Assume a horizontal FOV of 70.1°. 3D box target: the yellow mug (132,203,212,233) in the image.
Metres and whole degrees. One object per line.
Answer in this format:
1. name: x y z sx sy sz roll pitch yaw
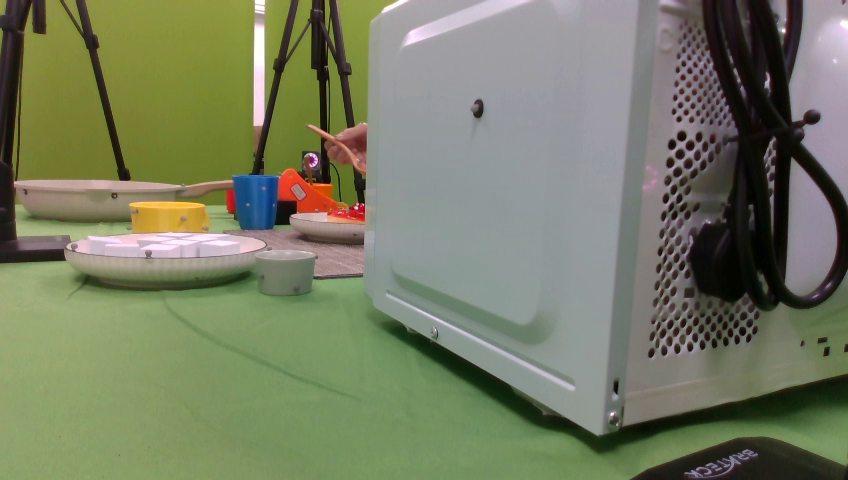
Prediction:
1. yellow mug: -0.356 -0.020 0.878 0.099 0.064 0.131 5 7 22

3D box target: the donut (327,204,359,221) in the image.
1. donut: -0.120 -0.037 1.056 0.099 0.048 0.099 5 6 0

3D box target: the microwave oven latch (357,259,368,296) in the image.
1. microwave oven latch: -0.019 0.031 0.528 0.079 0.029 0.030 -1 7 -25

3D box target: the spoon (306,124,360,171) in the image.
1. spoon: -0.145 -0.162 1.064 0.193 0.021 0.042 40 28 28

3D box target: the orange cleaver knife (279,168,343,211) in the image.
1. orange cleaver knife: -0.237 -0.084 1.332 0.212 0.077 0.012 31 -9 -31

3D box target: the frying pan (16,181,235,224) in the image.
1. frying pan: -0.554 -0.097 1.266 0.490 0.102 0.305 -10 13 -24

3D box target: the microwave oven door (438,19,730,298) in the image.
1. microwave oven door: 0.181 -0.076 0.618 0.358 0.243 0.039 -2 8 -28

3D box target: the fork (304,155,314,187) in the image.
1. fork: -0.268 -0.134 1.446 0.028 0.018 0.207 2 -36 -1

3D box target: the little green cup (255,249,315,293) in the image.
1. little green cup: -0.144 0.031 0.627 0.061 0.038 0.061 2 6 0

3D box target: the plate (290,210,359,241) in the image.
1. plate: -0.127 -0.026 1.051 0.209 0.038 0.209 3 7 0

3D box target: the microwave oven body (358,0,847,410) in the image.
1. microwave oven body: 0.210 -0.051 0.471 0.444 0.260 0.324 -1 7 -28

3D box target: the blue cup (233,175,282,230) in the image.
1. blue cup: -0.314 -0.071 1.141 0.093 0.100 0.092 0 7 0

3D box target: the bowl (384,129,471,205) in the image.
1. bowl: 0.017 -0.109 0.995 0.151 0.076 0.151 -20 -14 -5

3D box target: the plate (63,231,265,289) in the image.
1. plate: -0.288 0.021 0.687 0.208 0.039 0.207 2 8 0
